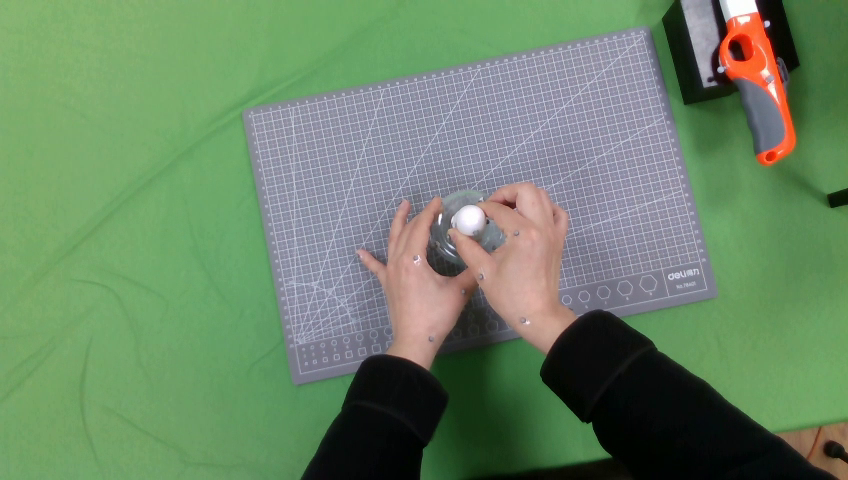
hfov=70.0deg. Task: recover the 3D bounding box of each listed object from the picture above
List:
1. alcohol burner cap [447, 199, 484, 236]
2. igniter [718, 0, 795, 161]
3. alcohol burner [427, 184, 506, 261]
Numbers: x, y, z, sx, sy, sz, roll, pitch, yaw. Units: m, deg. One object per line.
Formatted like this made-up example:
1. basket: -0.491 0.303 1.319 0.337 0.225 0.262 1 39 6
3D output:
1. alcohol burner cap: 0.040 -0.022 0.552 0.034 0.048 0.034 1 85 -6
2. igniter: 0.313 -0.212 0.596 0.057 0.025 0.275 -11 82 2
3. alcohol burner: 0.041 -0.018 0.584 0.078 0.119 0.078 0 87 2
